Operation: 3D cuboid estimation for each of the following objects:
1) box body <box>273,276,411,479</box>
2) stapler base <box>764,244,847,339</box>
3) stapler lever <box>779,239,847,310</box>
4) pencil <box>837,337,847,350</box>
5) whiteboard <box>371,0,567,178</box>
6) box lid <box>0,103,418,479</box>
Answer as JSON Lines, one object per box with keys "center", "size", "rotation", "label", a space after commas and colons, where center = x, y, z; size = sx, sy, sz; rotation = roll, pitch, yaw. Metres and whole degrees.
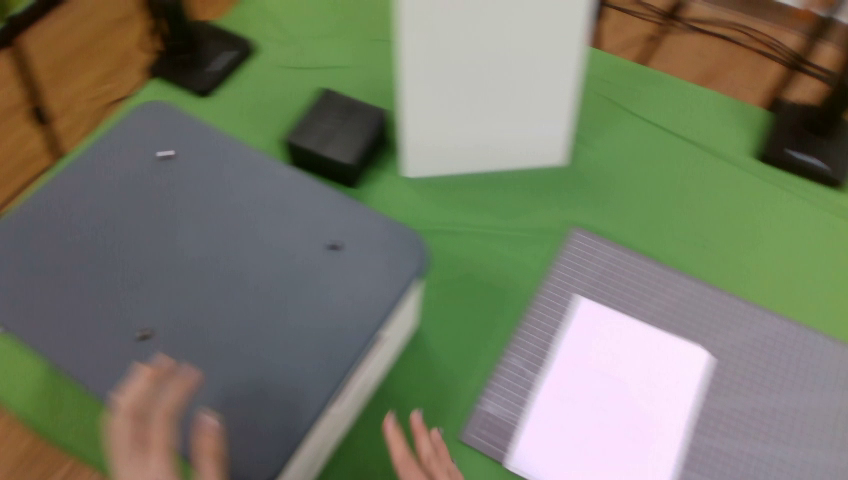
{"center": [-0.218, 0.061, 0.611], "size": [0.362, 0.161, 0.253], "rotation": [26, 63, 14], "label": "box body"}
{"center": [0.456, 0.055, 0.692], "size": [0.041, 0.024, 0.129], "rotation": [-30, 65, -18], "label": "stapler base"}
{"center": [0.454, 0.041, 0.669], "size": [0.027, 0.040, 0.117], "rotation": [-30, 63, -18], "label": "stapler lever"}
{"center": [0.518, 0.172, 0.632], "size": [0.012, 0.012, 0.192], "rotation": [-32, 62, -18], "label": "pencil"}
{"center": [0.047, -0.254, 0.752], "size": [0.217, 0.308, 0.142], "rotation": [-6, 40, -3], "label": "whiteboard"}
{"center": [-0.219, 0.021, 0.547], "size": [0.370, 0.015, 0.262], "rotation": [26, 62, 14], "label": "box lid"}
